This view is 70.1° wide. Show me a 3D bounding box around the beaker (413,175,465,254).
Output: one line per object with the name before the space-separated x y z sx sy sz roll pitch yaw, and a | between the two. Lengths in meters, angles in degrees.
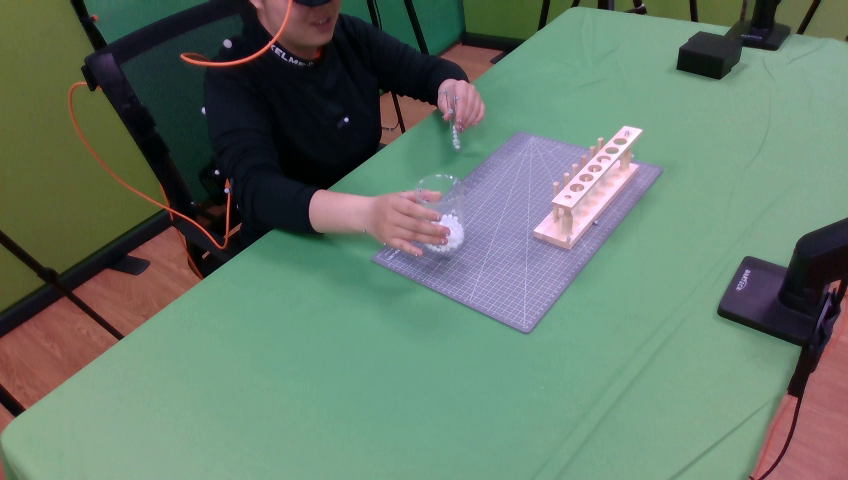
beaker | 0.027 -0.037 0.906 0.073 0.100 0.084 25 47 32

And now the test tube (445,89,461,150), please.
test tube | 0.054 -0.217 1.108 0.017 0.151 0.017 -4 57 7

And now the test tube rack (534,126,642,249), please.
test tube rack | 0.271 -0.095 0.990 0.066 0.085 0.243 23 49 33
